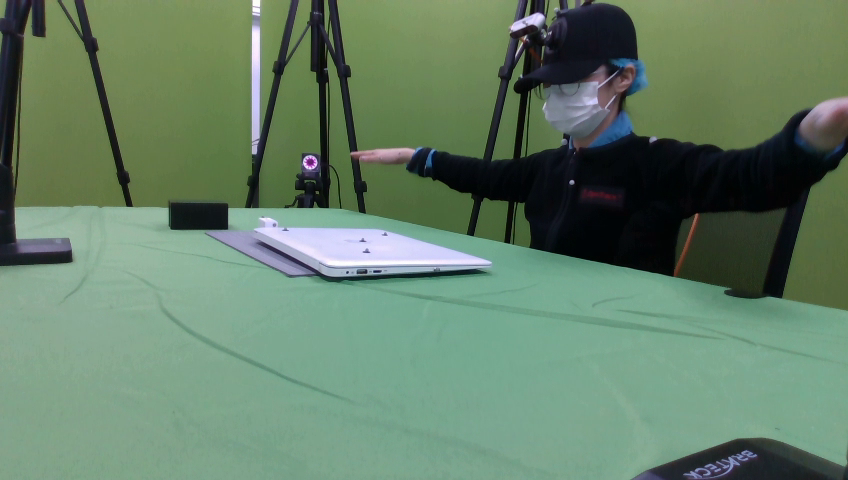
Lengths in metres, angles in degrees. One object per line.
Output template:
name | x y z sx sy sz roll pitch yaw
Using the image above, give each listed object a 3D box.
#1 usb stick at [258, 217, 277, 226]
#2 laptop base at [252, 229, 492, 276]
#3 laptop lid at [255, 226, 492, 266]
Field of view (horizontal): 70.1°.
usb stick | -0.261 -0.022 1.016 0.021 0.027 0.059 0 13 -29
laptop base | -0.094 0.015 0.889 0.237 0.023 0.352 2 7 -30
laptop lid | -0.092 0.003 0.888 0.243 0.013 0.355 1 8 -28
